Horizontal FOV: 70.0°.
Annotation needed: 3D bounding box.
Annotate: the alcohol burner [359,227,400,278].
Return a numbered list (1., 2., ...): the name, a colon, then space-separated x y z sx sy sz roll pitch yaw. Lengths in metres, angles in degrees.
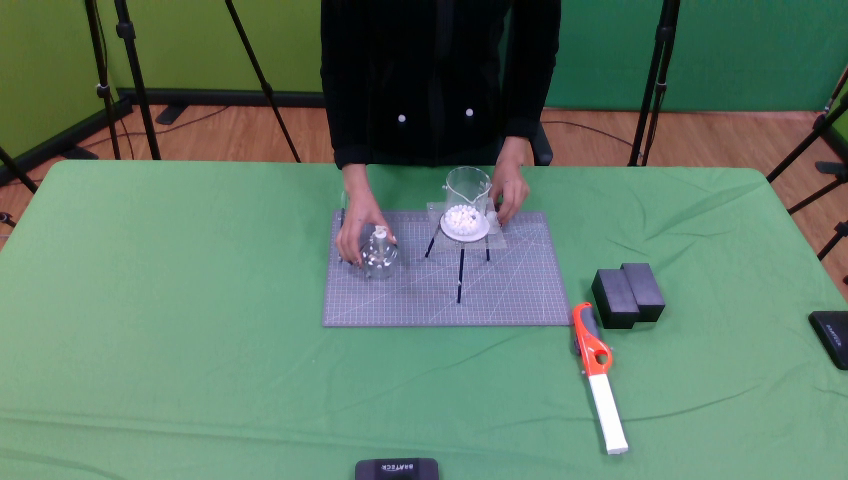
1. alcohol burner: -0.081 0.015 1.109 0.078 0.119 0.077 3 52 -4

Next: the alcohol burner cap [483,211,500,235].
1. alcohol burner cap: 0.138 -0.038 1.226 0.034 0.048 0.033 3 42 -2

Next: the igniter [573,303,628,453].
1. igniter: 0.288 0.217 1.006 0.057 0.025 0.274 -10 46 8

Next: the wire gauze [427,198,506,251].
1. wire gauze: 0.073 -0.027 1.056 0.125 0.011 0.120 -1 49 -8

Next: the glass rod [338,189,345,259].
1. glass rod: -0.166 -0.037 1.226 0.008 0.008 0.198 0 47 -4

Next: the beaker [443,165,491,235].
1. beaker: 0.070 -0.062 1.023 0.074 0.101 0.083 -2 48 -6

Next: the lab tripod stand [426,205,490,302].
1. lab tripod stand: 0.069 0.017 1.106 0.148 0.132 0.147 3 47 -3
